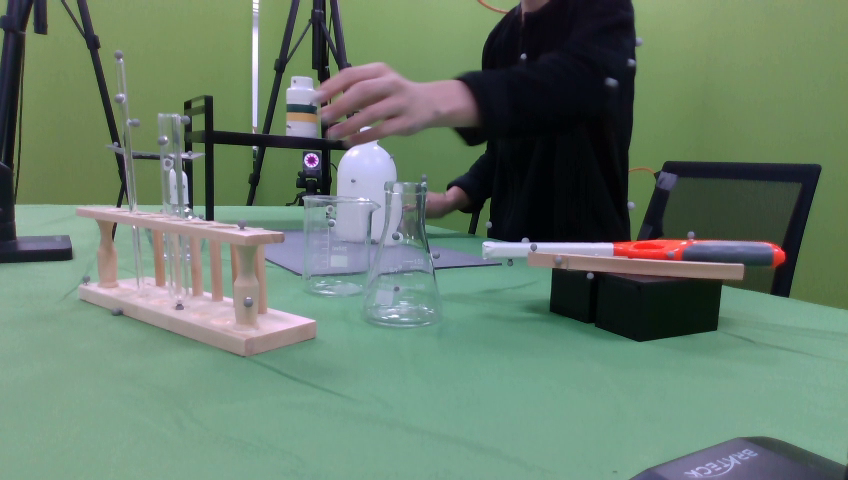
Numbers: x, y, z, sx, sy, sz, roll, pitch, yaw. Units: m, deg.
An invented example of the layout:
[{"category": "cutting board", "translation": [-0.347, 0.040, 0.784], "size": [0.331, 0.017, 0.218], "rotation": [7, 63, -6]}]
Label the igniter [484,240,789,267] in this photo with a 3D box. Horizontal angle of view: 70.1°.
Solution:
[{"category": "igniter", "translation": [0.197, 0.012, 0.585], "size": [0.276, 0.025, 0.057], "rotation": [1, 5, 11]}]

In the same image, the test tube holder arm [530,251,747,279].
[{"category": "test tube holder arm", "translation": [0.182, 0.022, 0.523], "size": [0.178, 0.015, 0.013], "rotation": [3, 8, 12]}]

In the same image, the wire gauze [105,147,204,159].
[{"category": "wire gauze", "translation": [-0.407, -0.131, 0.929], "size": [0.125, 0.011, 0.121], "rotation": [2, 6, -11]}]

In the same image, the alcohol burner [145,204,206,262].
[{"category": "alcohol burner", "translation": [-0.321, -0.032, 0.788], "size": [0.078, 0.119, 0.078], "rotation": [0, 7, 0]}]

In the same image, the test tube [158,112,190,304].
[{"category": "test tube", "translation": [-0.194, -0.022, 0.469], "size": [0.017, 0.150, 0.017], "rotation": [2, 12, 0]}]

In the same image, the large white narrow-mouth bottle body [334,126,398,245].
[{"category": "large white narrow-mouth bottle body", "translation": [-0.096, -0.094, 1.023], "size": [0.102, 0.194, 0.102], "rotation": [4, 7, 0]}]

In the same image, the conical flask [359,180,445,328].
[{"category": "conical flask", "translation": [-0.017, 0.010, 0.522], "size": [0.075, 0.122, 0.075], "rotation": [2, 8, 0]}]

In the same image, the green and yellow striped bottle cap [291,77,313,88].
[{"category": "green and yellow striped bottle cap", "translation": [-0.250, -0.321, 1.237], "size": [0.045, 0.020, 0.045], "rotation": [3, 6, 0]}]

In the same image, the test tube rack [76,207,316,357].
[{"category": "test tube rack", "translation": [-0.196, 0.023, 0.500], "size": [0.241, 0.085, 0.067], "rotation": [8, 9, 36]}]

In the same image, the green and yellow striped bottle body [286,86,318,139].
[{"category": "green and yellow striped bottle body", "translation": [-0.251, -0.270, 1.245], "size": [0.063, 0.119, 0.063], "rotation": [3, 7, 0]}]

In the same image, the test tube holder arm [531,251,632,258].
[{"category": "test tube holder arm", "translation": [0.139, 0.019, 0.538], "size": [0.087, 0.015, 0.010], "rotation": [4, 8, 14]}]

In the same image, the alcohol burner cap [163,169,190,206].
[{"category": "alcohol burner cap", "translation": [-0.320, -0.068, 0.782], "size": [0.034, 0.048, 0.034], "rotation": [1, 7, 0]}]

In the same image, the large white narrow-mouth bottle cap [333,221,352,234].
[{"category": "large white narrow-mouth bottle cap", "translation": [-0.152, -0.024, 1.134], "size": [0.038, 0.024, 0.037], "rotation": [4, 7, 0]}]

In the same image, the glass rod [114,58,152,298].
[{"category": "glass rod", "translation": [-0.236, -0.044, 0.492], "size": [0.008, 0.199, 0.008], "rotation": [0, 15, 0]}]

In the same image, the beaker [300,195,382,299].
[{"category": "beaker", "translation": [-0.087, 0.006, 0.626], "size": [0.084, 0.100, 0.074], "rotation": [1, 8, -17]}]

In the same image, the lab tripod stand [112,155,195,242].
[{"category": "lab tripod stand", "translation": [-0.405, -0.064, 0.931], "size": [0.148, 0.131, 0.148], "rotation": [1, 7, 0]}]
